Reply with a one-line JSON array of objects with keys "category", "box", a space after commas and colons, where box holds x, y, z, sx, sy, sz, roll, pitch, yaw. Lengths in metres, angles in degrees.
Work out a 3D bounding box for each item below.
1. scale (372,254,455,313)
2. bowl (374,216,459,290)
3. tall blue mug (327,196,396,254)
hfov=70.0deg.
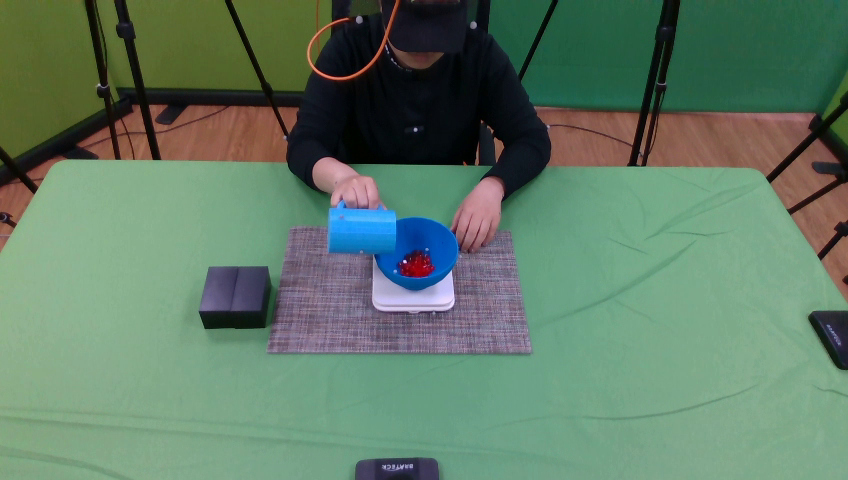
[{"category": "scale", "box": [-0.022, 0.051, 1.134, 0.149, 0.032, 0.199, 1, 46, -4]}, {"category": "bowl", "box": [-0.015, 0.036, 1.075, 0.151, 0.077, 0.150, 2, 46, -1]}, {"category": "tall blue mug", "box": [-0.106, -0.030, 1.014, 0.108, 0.078, 0.107, 1, 78, -12]}]
